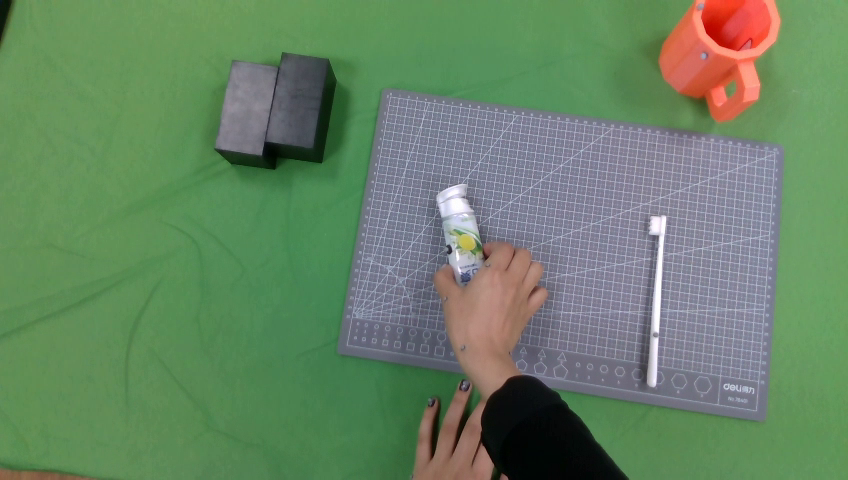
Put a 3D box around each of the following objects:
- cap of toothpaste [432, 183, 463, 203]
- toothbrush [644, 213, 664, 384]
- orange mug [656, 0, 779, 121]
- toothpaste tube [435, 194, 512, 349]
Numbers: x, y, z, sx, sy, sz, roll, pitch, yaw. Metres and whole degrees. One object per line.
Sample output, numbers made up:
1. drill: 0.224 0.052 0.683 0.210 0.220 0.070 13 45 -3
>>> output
1. cap of toothpaste: 0.026 -0.050 0.645 0.037 0.037 0.011 -24 79 -4
2. toothbrush: 0.241 0.059 0.639 0.016 0.014 0.181 6 81 5
3. orange mug: 0.311 -0.195 0.639 0.083 0.101 0.125 -13 76 -1
4. toothpaste tube: 0.045 0.029 0.639 0.055 0.034 0.164 -15 85 5
